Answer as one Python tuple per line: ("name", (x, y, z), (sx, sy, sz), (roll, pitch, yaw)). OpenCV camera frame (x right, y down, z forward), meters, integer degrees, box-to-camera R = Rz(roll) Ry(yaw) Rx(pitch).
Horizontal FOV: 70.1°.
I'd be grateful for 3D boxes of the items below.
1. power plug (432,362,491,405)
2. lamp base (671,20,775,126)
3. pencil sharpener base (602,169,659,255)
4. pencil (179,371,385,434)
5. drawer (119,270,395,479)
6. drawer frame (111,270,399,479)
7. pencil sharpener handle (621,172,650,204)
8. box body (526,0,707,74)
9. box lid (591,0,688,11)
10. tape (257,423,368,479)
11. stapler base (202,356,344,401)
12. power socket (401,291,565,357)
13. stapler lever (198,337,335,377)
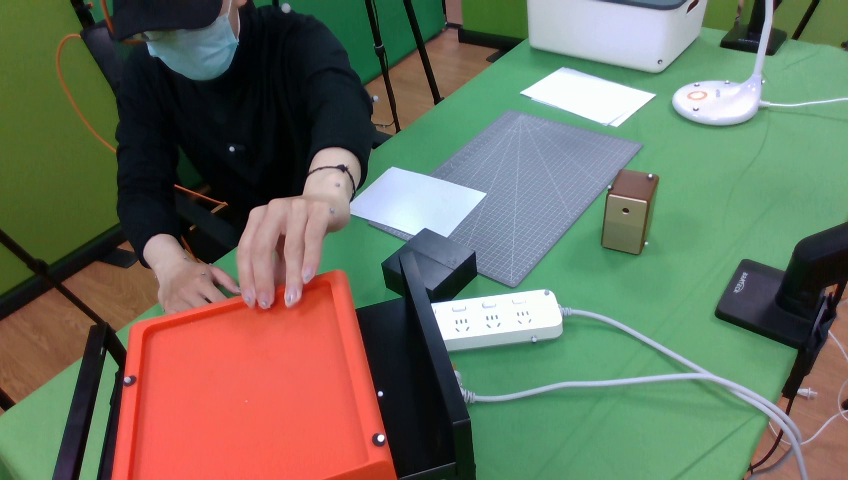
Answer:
("power plug", (0.044, 0.182, 0.759), (0.073, 0.035, 0.052), (24, 42, -19))
("lamp base", (0.582, -0.331, 1.153), (0.179, 0.181, 0.160), (2, 41, 7))
("pencil sharpener base", (0.311, -0.043, 0.913), (0.061, 0.107, 0.077), (14, 44, 24))
("pencil", (-0.128, 0.141, 0.534), (0.194, 0.012, 0.012), (14, 44, 7))
("drawer", (-0.141, 0.139, 0.509), (0.195, 0.073, 0.210), (-14, 42, -8))
("drawer frame", (-0.140, 0.140, 0.506), (0.202, 0.083, 0.212), (-15, 41, -9))
("pencil sharpener handle", (0.328, -0.086, 0.940), (0.036, 0.068, 0.030), (30, 49, 7))
("box body", (0.450, -0.539, 1.429), (0.361, 0.161, 0.255), (24, 50, 31))
("box lid", (0.440, -0.595, 1.382), (0.368, 0.015, 0.264), (24, 49, 31))
("tape", (-0.120, 0.263, 0.659), (0.117, 0.053, 0.116), (-4, 40, 4))
("stapler base", (-0.141, 0.123, 0.556), (0.130, 0.024, 0.041), (-2, 44, 3))
("power socket", (0.080, 0.113, 0.821), (0.227, 0.033, 0.072), (-7, 41, 0))
("stapler lever", (-0.142, 0.105, 0.541), (0.118, 0.040, 0.026), (-3, 44, 4))
